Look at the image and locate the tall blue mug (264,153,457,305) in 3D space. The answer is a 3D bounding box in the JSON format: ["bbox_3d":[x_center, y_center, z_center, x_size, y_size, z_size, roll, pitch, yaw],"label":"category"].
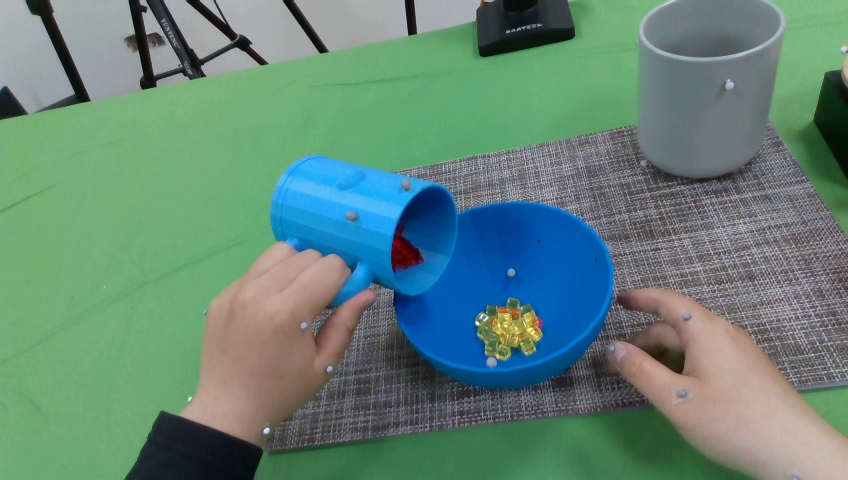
[{"bbox_3d":[-0.049,0.000,0.417,0.107,0.078,0.107,17,78,32],"label":"tall blue mug"}]

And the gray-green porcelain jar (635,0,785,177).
[{"bbox_3d":[0.234,-0.126,0.512,0.106,0.128,0.105,-9,45,10],"label":"gray-green porcelain jar"}]

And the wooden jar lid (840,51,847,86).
[{"bbox_3d":[0.388,-0.128,0.473,0.108,0.021,0.107,-10,45,10],"label":"wooden jar lid"}]

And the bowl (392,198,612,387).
[{"bbox_3d":[0.059,0.049,0.435,0.151,0.077,0.150,-9,45,10],"label":"bowl"}]
